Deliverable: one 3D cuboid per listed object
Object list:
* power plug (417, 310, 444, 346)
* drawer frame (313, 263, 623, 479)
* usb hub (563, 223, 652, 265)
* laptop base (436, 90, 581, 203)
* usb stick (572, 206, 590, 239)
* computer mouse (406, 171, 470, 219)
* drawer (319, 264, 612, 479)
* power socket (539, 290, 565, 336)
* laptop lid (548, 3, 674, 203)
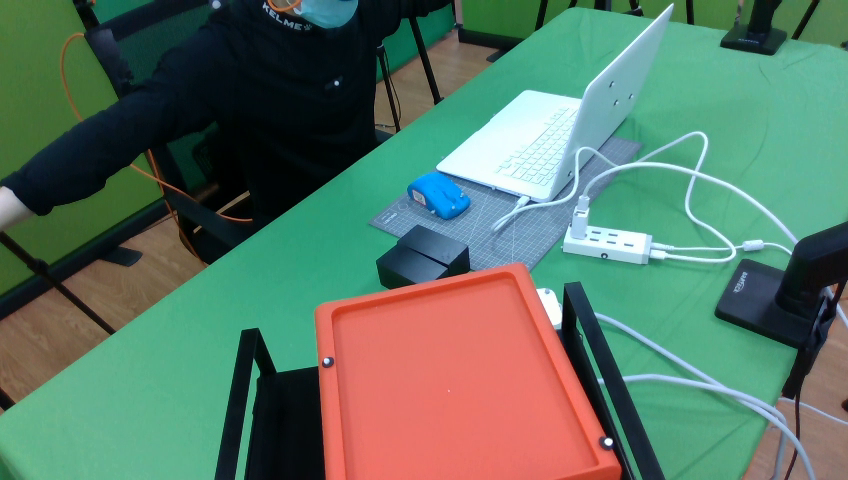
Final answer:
[{"bbox_3d":[0.007,0.122,0.785,0.035,0.053,0.072,0,39,7],"label":"power plug"},{"bbox_3d":[0.021,0.130,0.493,0.202,0.083,0.212,-11,41,-6],"label":"drawer frame"},{"bbox_3d":[0.281,0.005,0.925,0.124,0.025,0.049,10,43,19],"label":"usb hub"},{"bbox_3d":[0.214,-0.192,1.172,0.233,0.023,0.355,19,46,32],"label":"laptop base"},{"bbox_3d":[0.237,-0.021,0.916,0.021,0.059,0.027,9,41,17],"label":"usb stick"},{"bbox_3d":[0.024,-0.082,1.049,0.063,0.041,0.116,-30,50,-27],"label":"computer mouse"},{"bbox_3d":[0.020,0.129,0.497,0.195,0.073,0.210,-11,41,-5],"label":"drawer"},{"bbox_3d":[0.081,0.112,0.822,0.227,0.033,0.072,-6,41,0],"label":"power socket"},{"bbox_3d":[0.320,-0.235,1.026,0.013,0.242,0.357,31,50,20],"label":"laptop lid"}]
